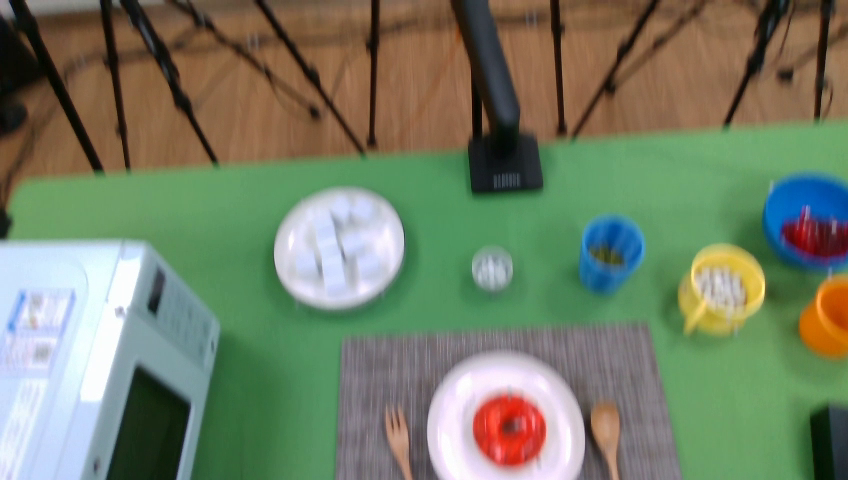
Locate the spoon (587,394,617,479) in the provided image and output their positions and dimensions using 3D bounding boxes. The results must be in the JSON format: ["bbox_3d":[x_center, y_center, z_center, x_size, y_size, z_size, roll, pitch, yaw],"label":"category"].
[{"bbox_3d":[0.238,0.295,0.775,0.042,0.022,0.192,9,59,-17],"label":"spoon"}]

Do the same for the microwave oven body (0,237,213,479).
[{"bbox_3d":[-0.479,0.245,0.717,0.326,0.262,0.438,0,61,3],"label":"microwave oven body"}]

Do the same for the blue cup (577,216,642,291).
[{"bbox_3d":[0.262,0.027,0.884,0.092,0.101,0.092,-1,62,3],"label":"blue cup"}]

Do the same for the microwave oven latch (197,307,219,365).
[{"bbox_3d":[-0.319,0.139,0.877,0.030,0.030,0.078,1,61,4],"label":"microwave oven latch"}]

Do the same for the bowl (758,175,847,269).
[{"bbox_3d":[0.565,-0.014,0.899,0.151,0.077,0.150,-2,61,4],"label":"bowl"}]

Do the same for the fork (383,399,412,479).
[{"bbox_3d":[-0.021,0.308,0.788,0.028,0.019,0.205,-7,58,-17],"label":"fork"}]

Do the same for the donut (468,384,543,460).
[{"bbox_3d":[0.107,0.238,0.795,0.099,0.048,0.098,-3,62,5],"label":"donut"}]

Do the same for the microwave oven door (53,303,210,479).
[{"bbox_3d":[-0.335,0.278,0.682,0.039,0.246,0.352,-1,60,4],"label":"microwave oven door"}]

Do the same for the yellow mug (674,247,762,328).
[{"bbox_3d":[0.408,0.078,0.865,0.131,0.064,0.099,-41,66,-16],"label":"yellow mug"}]

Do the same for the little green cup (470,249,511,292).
[{"bbox_3d":[0.101,0.048,0.920,0.061,0.039,0.061,-2,60,3],"label":"little green cup"}]

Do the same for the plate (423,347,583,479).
[{"bbox_3d":[0.103,0.246,0.804,0.209,0.038,0.207,-2,61,4],"label":"plate"}]

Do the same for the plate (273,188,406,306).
[{"bbox_3d":[-0.131,0.013,0.956,0.207,0.039,0.206,-2,60,3],"label":"plate"}]
